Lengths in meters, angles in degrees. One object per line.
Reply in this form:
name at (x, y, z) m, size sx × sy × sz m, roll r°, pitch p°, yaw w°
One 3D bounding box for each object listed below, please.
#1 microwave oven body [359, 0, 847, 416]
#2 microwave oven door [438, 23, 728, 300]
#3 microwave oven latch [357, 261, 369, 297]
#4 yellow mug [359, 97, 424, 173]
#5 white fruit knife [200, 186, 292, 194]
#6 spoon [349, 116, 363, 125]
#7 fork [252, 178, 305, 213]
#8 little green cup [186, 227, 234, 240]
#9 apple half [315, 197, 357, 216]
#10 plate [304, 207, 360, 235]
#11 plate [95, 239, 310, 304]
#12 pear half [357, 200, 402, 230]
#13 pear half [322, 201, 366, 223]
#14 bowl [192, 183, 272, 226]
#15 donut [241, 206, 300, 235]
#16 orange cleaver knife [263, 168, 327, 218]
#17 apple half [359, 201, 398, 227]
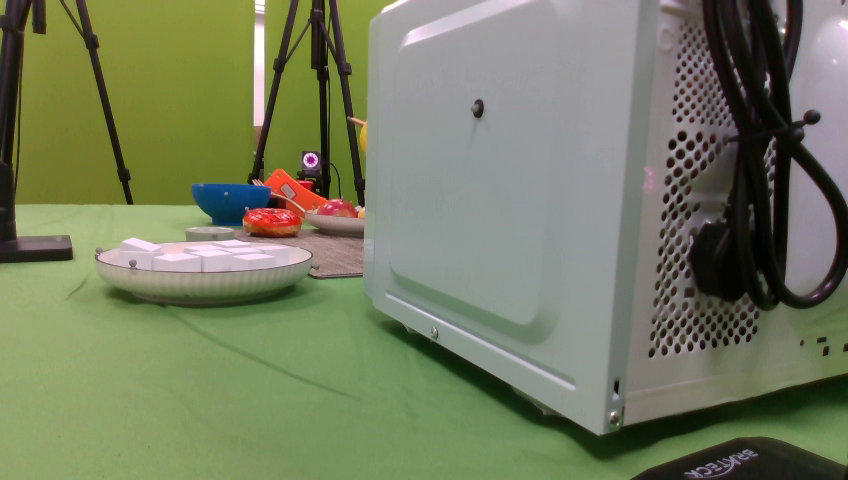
microwave oven body at (0.211, -0.047, 0.474) m, size 0.444 × 0.260 × 0.324 m, roll -1°, pitch 7°, yaw -28°
microwave oven door at (0.181, -0.072, 0.621) m, size 0.358 × 0.243 × 0.039 m, roll -2°, pitch 8°, yaw -29°
microwave oven latch at (-0.019, 0.033, 0.530) m, size 0.079 × 0.029 × 0.030 m, roll -1°, pitch 7°, yaw -26°
yellow mug at (-0.060, -0.189, 1.062) m, size 0.100 × 0.131 × 0.063 m, roll -20°, pitch 39°, yaw -14°
white fruit knife at (-0.399, -0.111, 1.368) m, size 0.208 × 0.016 × 0.027 m, roll -4°, pitch -19°, yaw -30°
spoon at (-0.085, -0.201, 1.133) m, size 0.042 × 0.021 × 0.192 m, roll -6°, pitch 34°, yaw -39°
fork at (-0.295, -0.084, 1.292) m, size 0.206 × 0.018 × 0.028 m, roll 29°, pitch 10°, yaw 25°
little green cup at (-0.285, 0.005, 0.805) m, size 0.061 × 0.038 × 0.061 m, roll 2°, pitch 8°, yaw 0°
apple half at (-0.162, -0.052, 1.121) m, size 0.081 × 0.053 × 0.074 m, roll 4°, pitch 8°, yaw -14°
plate at (-0.123, -0.037, 1.149) m, size 0.209 × 0.038 × 0.209 m, roll 2°, pitch 7°, yaw 0°
plate at (-0.224, 0.031, 0.629) m, size 0.208 × 0.039 × 0.207 m, roll 2°, pitch 8°, yaw 0°
pear half at (-0.074, -0.046, 1.132) m, size 0.076 × 0.056 × 0.110 m, roll 12°, pitch 7°, yaw 31°
pear half at (-0.157, -0.059, 1.197) m, size 0.088 × 0.031 × 0.070 m, roll 12°, pitch 30°, yaw -4°
bowl at (-0.381, -0.071, 1.202) m, size 0.151 × 0.077 × 0.151 m, roll 3°, pitch 7°, yaw 0°
donut at (-0.263, -0.032, 1.039) m, size 0.099 × 0.048 × 0.099 m, roll 4°, pitch 10°, yaw 0°
orange cleaver knife at (-0.263, -0.087, 1.353) m, size 0.211 × 0.077 × 0.012 m, roll 28°, pitch 13°, yaw -1°
apple half at (-0.088, -0.058, 1.190) m, size 0.081 × 0.033 × 0.081 m, roll 10°, pitch 29°, yaw -5°
